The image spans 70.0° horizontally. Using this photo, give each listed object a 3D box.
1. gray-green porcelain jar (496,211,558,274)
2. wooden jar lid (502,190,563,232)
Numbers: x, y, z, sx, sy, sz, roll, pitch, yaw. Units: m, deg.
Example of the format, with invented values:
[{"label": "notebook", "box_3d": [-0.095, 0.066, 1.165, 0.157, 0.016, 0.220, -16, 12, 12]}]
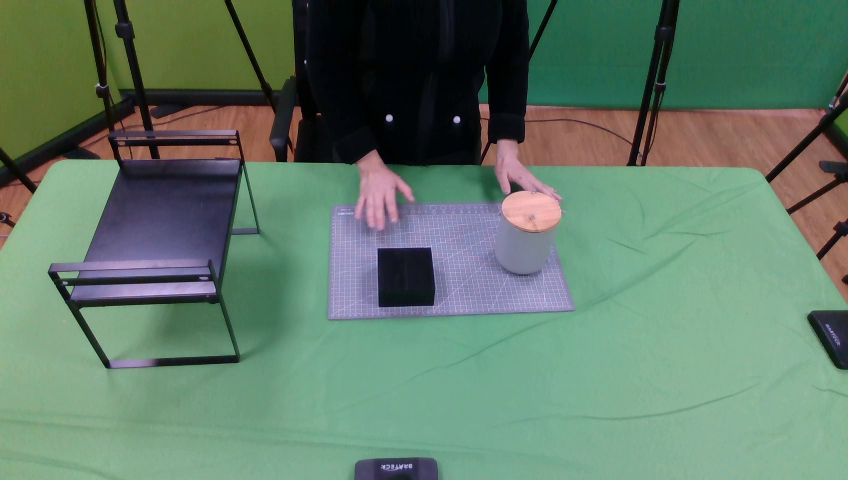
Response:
[{"label": "gray-green porcelain jar", "box_3d": [0.192, -0.007, 1.140, 0.106, 0.127, 0.105, 2, 46, -2]}, {"label": "wooden jar lid", "box_3d": [0.195, -0.050, 1.095, 0.108, 0.021, 0.107, 1, 44, -1]}]
